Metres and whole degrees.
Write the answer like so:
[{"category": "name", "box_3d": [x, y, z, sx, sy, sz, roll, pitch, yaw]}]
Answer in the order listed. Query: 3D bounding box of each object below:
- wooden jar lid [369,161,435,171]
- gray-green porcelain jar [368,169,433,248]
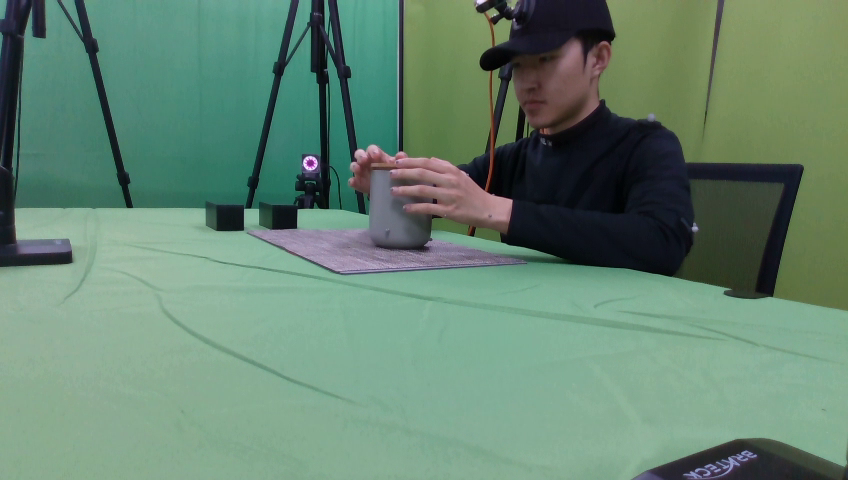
[{"category": "wooden jar lid", "box_3d": [-0.036, -0.118, 0.993, 0.108, 0.020, 0.108, 2, 4, 0]}, {"category": "gray-green porcelain jar", "box_3d": [-0.039, -0.054, 1.002, 0.106, 0.126, 0.106, 1, 7, 0]}]
